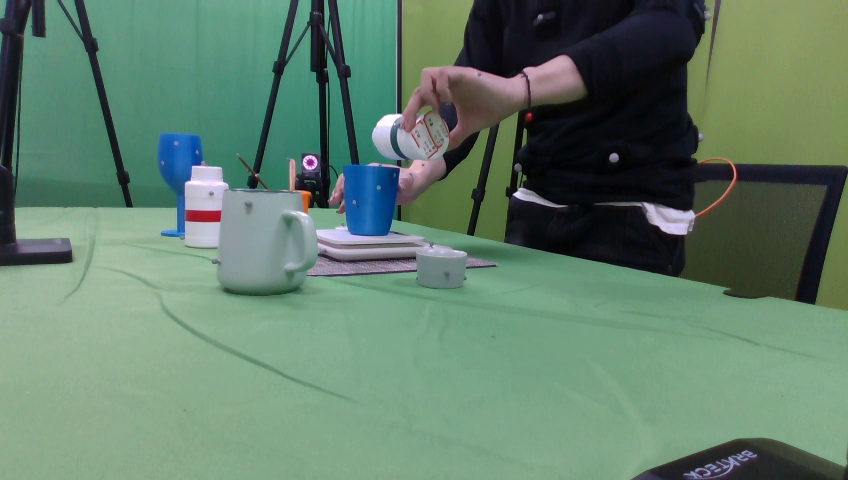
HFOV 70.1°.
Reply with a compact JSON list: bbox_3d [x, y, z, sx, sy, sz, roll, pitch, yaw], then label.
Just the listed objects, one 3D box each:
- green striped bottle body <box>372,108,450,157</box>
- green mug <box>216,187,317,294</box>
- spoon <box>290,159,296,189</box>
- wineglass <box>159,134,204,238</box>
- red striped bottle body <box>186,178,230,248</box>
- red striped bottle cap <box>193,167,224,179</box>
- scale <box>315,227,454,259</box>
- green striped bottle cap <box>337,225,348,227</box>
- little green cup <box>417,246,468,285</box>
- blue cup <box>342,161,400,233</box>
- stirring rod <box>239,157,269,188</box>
[{"bbox_3d":[-0.024,-0.146,0.826,0.063,0.063,0.118,-3,9,-37],"label":"green striped bottle body"},{"bbox_3d":[-0.157,0.000,0.629,0.124,0.105,0.093,7,9,37],"label":"green mug"},{"bbox_3d":[-0.273,-0.102,1.252,0.042,0.193,0.021,7,-39,-17],"label":"spoon"},{"bbox_3d":[-0.415,-0.093,1.040,0.074,0.172,0.073,2,7,0],"label":"wineglass"},{"bbox_3d":[-0.331,-0.050,0.927,0.063,0.119,0.063,2,6,0],"label":"red striped bottle body"},{"bbox_3d":[-0.329,-0.103,0.921,0.044,0.017,0.044,-1,9,0],"label":"red striped bottle cap"},{"bbox_3d":[-0.066,0.001,0.906,0.202,0.031,0.148,-2,8,-31],"label":"scale"},{"bbox_3d":[-0.137,-0.015,1.092,0.044,0.020,0.044,0,9,0],"label":"green striped bottle cap"},{"bbox_3d":[0.021,0.029,0.701,0.061,0.038,0.061,0,6,0],"label":"little green cup"},{"bbox_3d":[-0.079,-0.062,0.884,0.093,0.100,0.092,3,4,0],"label":"blue cup"},{"bbox_3d":[-0.308,-0.098,1.209,0.006,0.177,0.014,-38,29,-2],"label":"stirring rod"}]
